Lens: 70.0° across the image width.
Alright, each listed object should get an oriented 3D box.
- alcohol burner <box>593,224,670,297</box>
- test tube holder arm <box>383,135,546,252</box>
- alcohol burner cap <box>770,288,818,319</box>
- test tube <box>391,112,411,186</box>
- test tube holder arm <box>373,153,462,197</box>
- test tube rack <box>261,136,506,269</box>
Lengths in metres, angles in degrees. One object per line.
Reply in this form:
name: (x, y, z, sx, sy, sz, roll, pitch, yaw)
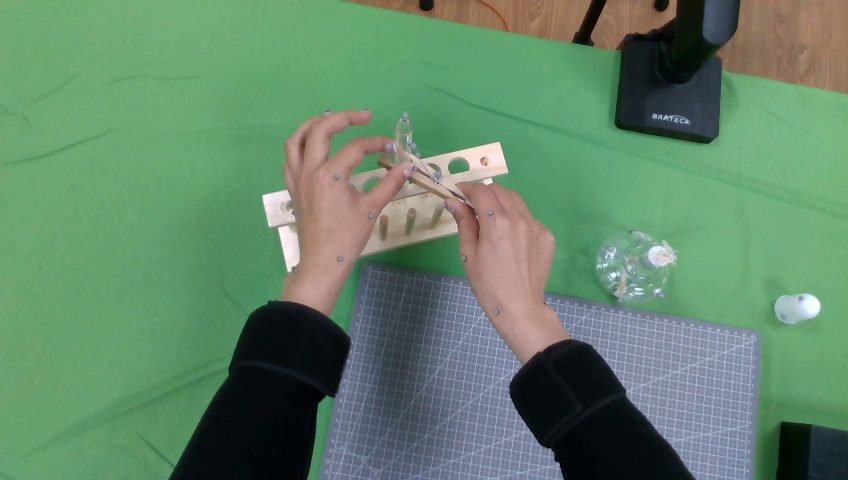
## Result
alcohol burner: (0.221, 0.018, 0.628, 0.078, 0.119, 0.077, 1, 78, -5)
test tube holder arm: (0.037, -0.043, 0.559, 0.178, 0.015, 0.013, 33, 84, 3)
alcohol burner cap: (0.410, 0.069, 0.667, 0.034, 0.048, 0.033, 1, 77, -3)
test tube: (-0.022, -0.076, 0.559, 0.017, 0.151, 0.017, 1, 74, -3)
test tube holder arm: (-0.005, -0.059, 0.560, 0.088, 0.015, 0.010, 20, 83, 2)
test tube rack: (-0.036, -0.037, 0.634, 0.242, 0.085, 0.066, -14, 79, -7)
